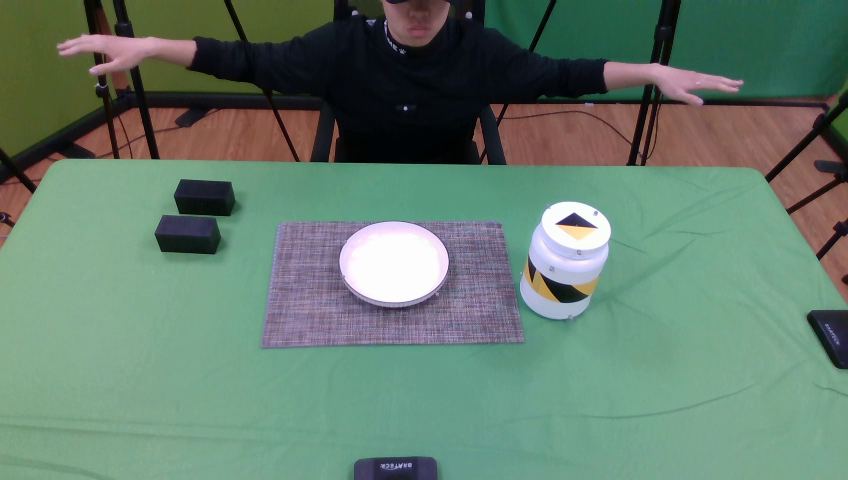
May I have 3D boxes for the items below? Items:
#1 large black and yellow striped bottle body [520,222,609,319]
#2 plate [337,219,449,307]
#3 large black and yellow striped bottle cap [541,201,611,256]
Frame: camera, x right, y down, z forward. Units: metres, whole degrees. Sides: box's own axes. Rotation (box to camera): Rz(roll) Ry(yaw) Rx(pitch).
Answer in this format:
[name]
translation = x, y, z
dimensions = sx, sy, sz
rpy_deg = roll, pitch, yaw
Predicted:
[large black and yellow striped bottle body]
translation = 0.247, 0.038, 1.065
dimensions = 0.131, 0.185, 0.130
rpy_deg = 2, 46, -2
[plate]
translation = -0.057, 0.045, 1.133
dimensions = 0.208, 0.039, 0.206
rpy_deg = 2, 46, -2
[large black and yellow striped bottle cap]
translation = 0.252, -0.021, 1.004
dimensions = 0.115, 0.019, 0.114
rpy_deg = 1, 47, -1
